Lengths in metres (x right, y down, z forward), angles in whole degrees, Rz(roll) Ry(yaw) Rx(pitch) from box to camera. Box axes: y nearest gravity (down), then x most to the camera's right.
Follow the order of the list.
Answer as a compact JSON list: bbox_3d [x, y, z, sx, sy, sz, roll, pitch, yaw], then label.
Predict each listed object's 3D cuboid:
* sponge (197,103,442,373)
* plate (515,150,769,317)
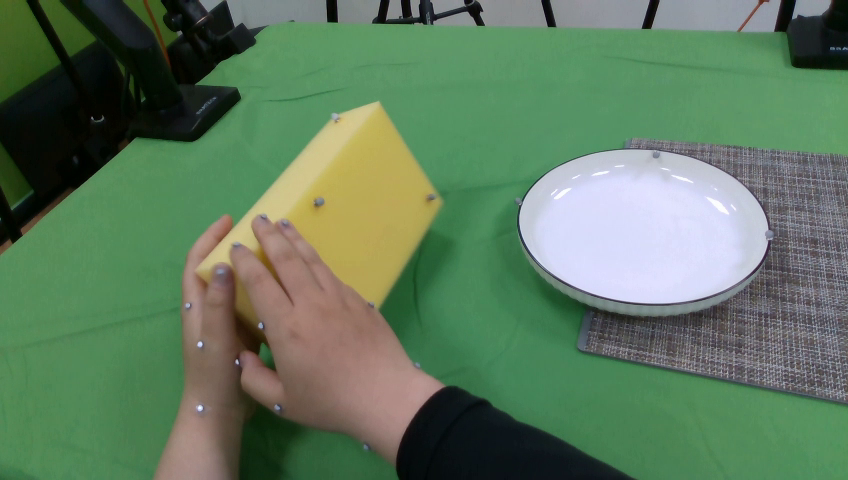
[{"bbox_3d":[-0.074,-0.006,0.512,0.060,0.119,0.205,-9,38,39],"label":"sponge"},{"bbox_3d":[0.187,-0.007,0.538,0.209,0.038,0.207,-5,42,5],"label":"plate"}]
